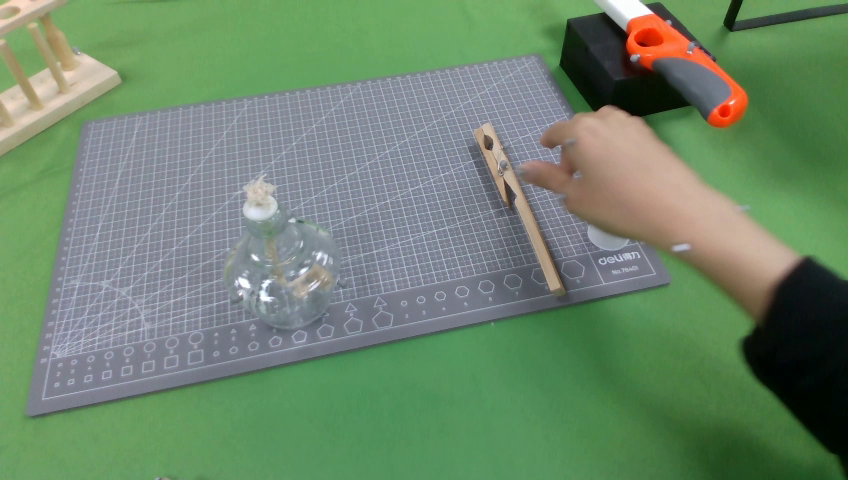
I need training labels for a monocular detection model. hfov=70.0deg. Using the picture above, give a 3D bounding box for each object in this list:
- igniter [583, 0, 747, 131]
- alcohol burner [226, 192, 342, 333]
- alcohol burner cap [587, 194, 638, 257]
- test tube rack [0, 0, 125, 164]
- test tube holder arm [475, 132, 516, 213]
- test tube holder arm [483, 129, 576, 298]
[{"bbox_3d":[0.199,-0.185,0.550,0.057,0.025,0.273,-17,50,-8],"label":"igniter"},{"bbox_3d":[-0.095,0.010,0.398,0.078,0.120,0.077,-1,52,2],"label":"alcohol burner"},{"bbox_3d":[0.144,-0.014,0.459,0.034,0.048,0.033,0,50,1],"label":"alcohol burner cap"},{"bbox_3d":[-0.401,-0.118,0.532,0.066,0.086,0.242,29,57,23],"label":"test tube rack"},{"bbox_3d":[0.063,-0.058,0.514,0.010,0.015,0.087,-36,50,21],"label":"test tube holder arm"},{"bbox_3d":[0.080,-0.028,0.485,0.013,0.015,0.176,-37,50,20],"label":"test tube holder arm"}]
